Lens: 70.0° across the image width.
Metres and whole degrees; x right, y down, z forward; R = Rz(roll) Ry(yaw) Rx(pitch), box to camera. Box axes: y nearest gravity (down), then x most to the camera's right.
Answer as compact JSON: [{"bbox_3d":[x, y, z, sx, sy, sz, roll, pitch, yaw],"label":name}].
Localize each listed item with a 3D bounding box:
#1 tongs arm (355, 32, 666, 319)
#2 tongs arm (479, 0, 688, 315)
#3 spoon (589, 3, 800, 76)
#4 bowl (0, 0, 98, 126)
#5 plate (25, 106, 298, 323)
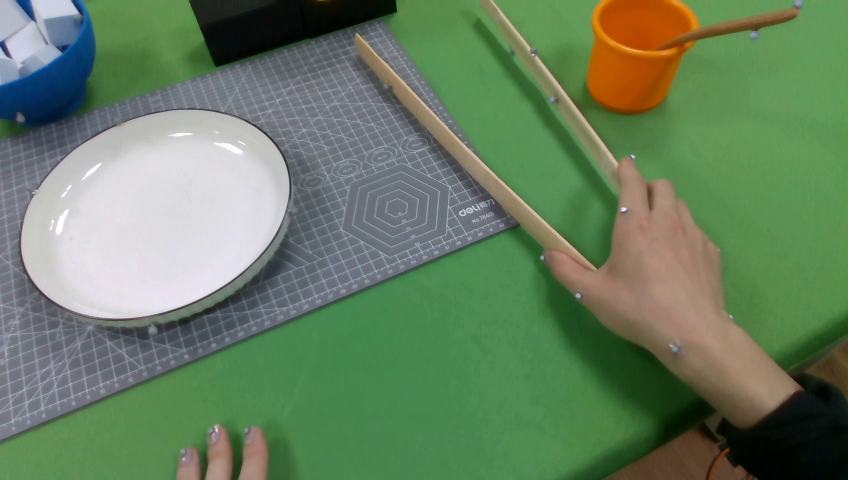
[{"bbox_3d":[0.048,-0.071,0.519,0.028,0.028,0.384,-31,61,-20],"label":"tongs arm"},{"bbox_3d":[0.116,-0.104,0.534,0.051,0.027,0.381,-22,59,-11],"label":"tongs arm"},{"bbox_3d":[0.213,-0.166,0.506,0.041,0.192,0.022,-43,109,-20],"label":"spoon"},{"bbox_3d":[-0.371,-0.161,0.566,0.151,0.077,0.150,-1,56,2],"label":"bowl"},{"bbox_3d":[-0.204,-0.023,0.490,0.207,0.039,0.205,-1,56,2],"label":"plate"}]
